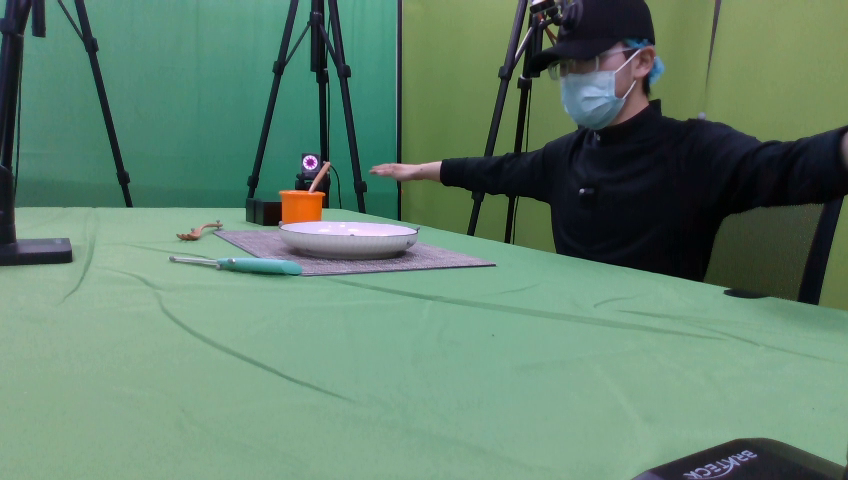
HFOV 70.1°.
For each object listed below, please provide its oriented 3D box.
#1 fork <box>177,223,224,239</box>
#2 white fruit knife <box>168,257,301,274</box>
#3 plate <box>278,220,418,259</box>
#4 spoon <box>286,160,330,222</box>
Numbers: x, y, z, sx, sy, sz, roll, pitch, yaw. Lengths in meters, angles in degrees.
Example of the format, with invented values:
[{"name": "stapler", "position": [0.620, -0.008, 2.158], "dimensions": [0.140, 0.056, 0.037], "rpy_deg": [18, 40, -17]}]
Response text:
[{"name": "fork", "position": [-0.386, -0.019, 1.061], "dimensions": [0.028, 0.018, 0.207], "rpy_deg": [-3, 9, -1]}, {"name": "white fruit knife", "position": [-0.243, 0.029, 0.749], "dimensions": [0.206, 0.016, 0.027], "rpy_deg": [2, -17, 26]}, {"name": "plate", "position": [-0.114, -0.002, 0.914], "dimensions": [0.209, 0.038, 0.209], "rpy_deg": [2, 7, 0]}, {"name": "spoon", "position": [-0.233, -0.101, 1.252], "dimensions": [0.041, 0.193, 0.022], "rpy_deg": [2, -38, 23]}]
